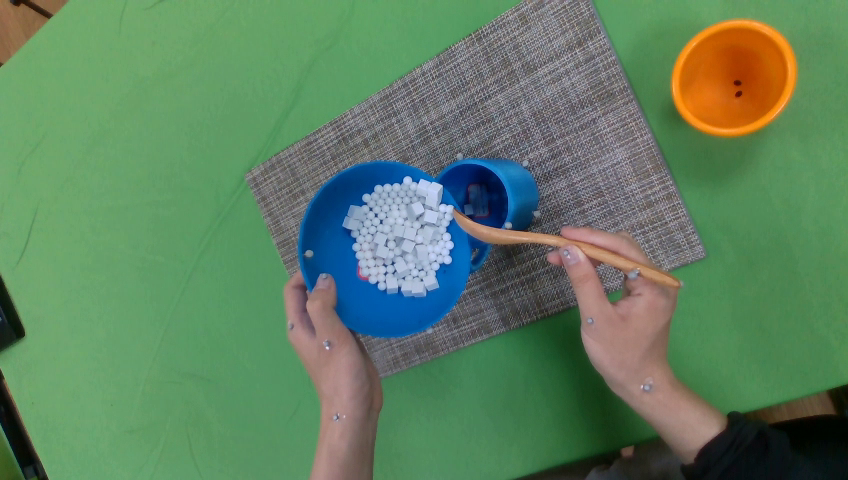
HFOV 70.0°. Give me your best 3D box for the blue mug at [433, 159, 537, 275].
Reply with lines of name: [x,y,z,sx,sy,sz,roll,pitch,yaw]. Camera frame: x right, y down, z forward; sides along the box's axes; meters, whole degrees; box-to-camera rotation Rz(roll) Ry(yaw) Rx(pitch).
blue mug: [0.056,-0.022,0.597,0.082,0.106,0.117,16,103,20]

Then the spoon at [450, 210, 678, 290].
spoon: [0.098,0.005,0.464,0.192,0.042,0.021,14,80,36]

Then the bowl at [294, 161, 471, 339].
bowl: [-0.042,0.013,0.534,0.152,0.077,0.151,3,80,-18]
